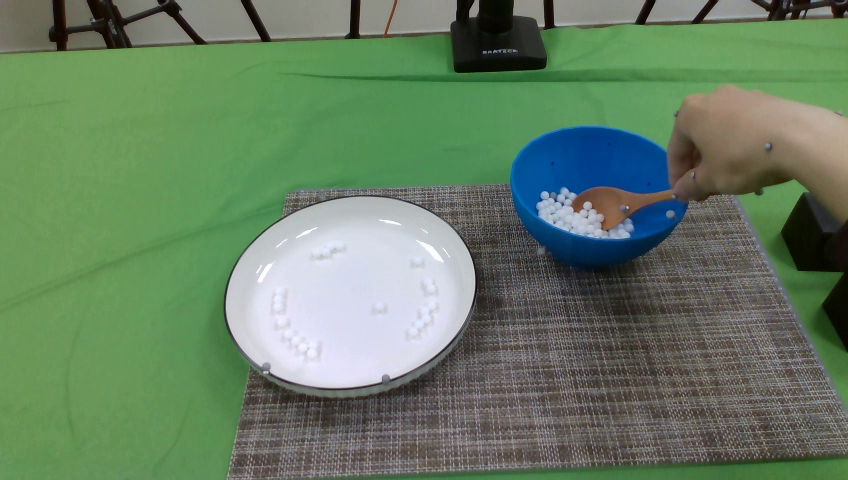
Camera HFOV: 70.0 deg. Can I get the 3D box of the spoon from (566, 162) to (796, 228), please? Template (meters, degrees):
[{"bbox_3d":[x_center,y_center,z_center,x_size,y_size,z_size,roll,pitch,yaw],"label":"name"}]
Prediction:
[{"bbox_3d":[0.195,-0.038,0.490,0.022,0.193,0.041,3,83,-34],"label":"spoon"}]

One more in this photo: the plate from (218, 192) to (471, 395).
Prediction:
[{"bbox_3d":[-0.064,0.042,0.513,0.208,0.039,0.205,-1,47,1],"label":"plate"}]

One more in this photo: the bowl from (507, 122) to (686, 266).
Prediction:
[{"bbox_3d":[0.147,-0.030,0.543,0.151,0.077,0.150,-1,47,2],"label":"bowl"}]
